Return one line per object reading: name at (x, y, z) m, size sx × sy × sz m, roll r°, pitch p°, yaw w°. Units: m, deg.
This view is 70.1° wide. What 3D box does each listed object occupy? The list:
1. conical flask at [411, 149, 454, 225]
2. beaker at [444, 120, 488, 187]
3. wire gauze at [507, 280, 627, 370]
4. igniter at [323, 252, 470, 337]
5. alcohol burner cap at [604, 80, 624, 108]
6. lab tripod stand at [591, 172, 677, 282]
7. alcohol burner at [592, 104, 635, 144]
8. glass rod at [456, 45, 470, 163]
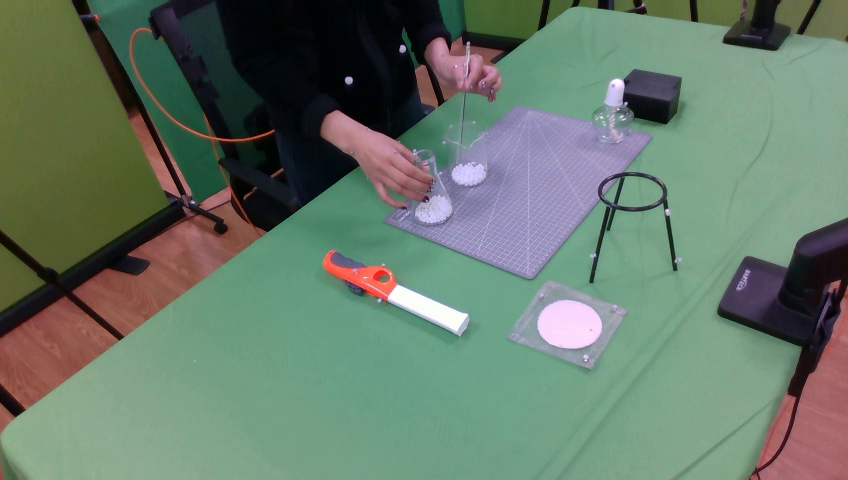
conical flask at (0.008, -0.091, 1.007) m, size 0.075 × 0.122 × 0.075 m, roll -5°, pitch 40°, yaw 5°
beaker at (0.078, -0.150, 1.083) m, size 0.074 × 0.101 × 0.083 m, roll -9°, pitch 41°, yaw 1°
wire gauze at (0.196, 0.114, 0.823) m, size 0.120 × 0.011 × 0.125 m, roll 20°, pitch 50°, yaw 31°
igniter at (-0.052, 0.075, 0.901) m, size 0.274 × 0.025 × 0.057 m, roll 22°, pitch 60°, yaw 32°
alcohol burner cap at (0.350, -0.269, 1.102) m, size 0.034 × 0.048 × 0.033 m, roll -2°, pitch 46°, yaw 2°
lab tripod stand at (0.292, -0.022, 0.867) m, size 0.148 × 0.132 × 0.147 m, roll -7°, pitch 39°, yaw 6°
alcohol burner at (0.353, -0.242, 1.126) m, size 0.078 × 0.119 × 0.077 m, roll -5°, pitch 38°, yaw 5°
glass rod at (0.067, -0.234, 1.048) m, size 0.008 × 0.200 × 0.008 m, roll 5°, pitch 15°, yaw -1°
